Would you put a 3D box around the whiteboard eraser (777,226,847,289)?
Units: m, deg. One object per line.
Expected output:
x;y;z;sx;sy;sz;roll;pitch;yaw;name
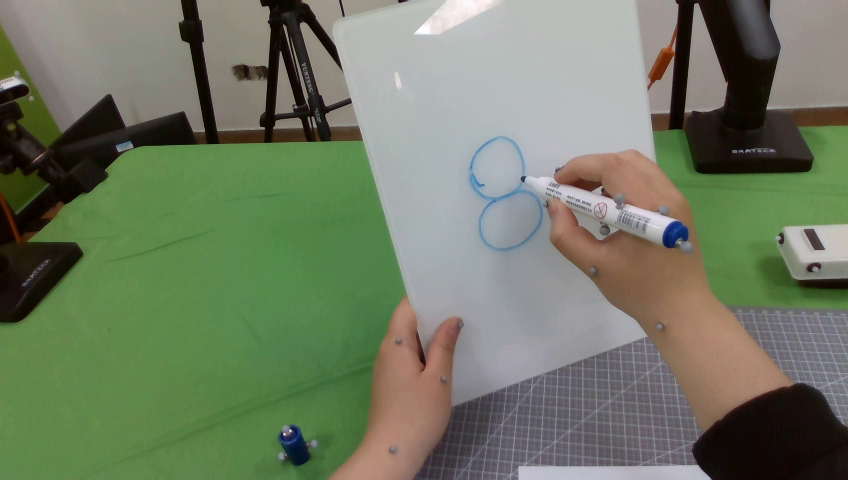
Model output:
0.377;0.015;0.528;0.112;0.042;0.055;-1;41;11;whiteboard eraser

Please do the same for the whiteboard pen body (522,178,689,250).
0.103;-0.021;0.375;0.017;0.017;0.139;-26;29;-19;whiteboard pen body

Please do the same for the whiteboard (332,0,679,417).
0.065;-0.048;0.515;0.217;0.307;0.143;-17;18;-8;whiteboard

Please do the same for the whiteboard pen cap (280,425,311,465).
-0.098;0.158;0.466;0.018;0.033;0.018;-6;39;5;whiteboard pen cap
